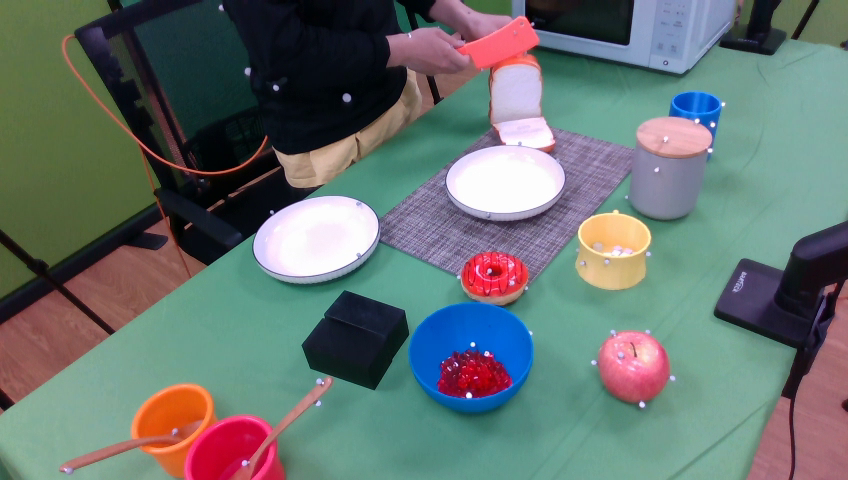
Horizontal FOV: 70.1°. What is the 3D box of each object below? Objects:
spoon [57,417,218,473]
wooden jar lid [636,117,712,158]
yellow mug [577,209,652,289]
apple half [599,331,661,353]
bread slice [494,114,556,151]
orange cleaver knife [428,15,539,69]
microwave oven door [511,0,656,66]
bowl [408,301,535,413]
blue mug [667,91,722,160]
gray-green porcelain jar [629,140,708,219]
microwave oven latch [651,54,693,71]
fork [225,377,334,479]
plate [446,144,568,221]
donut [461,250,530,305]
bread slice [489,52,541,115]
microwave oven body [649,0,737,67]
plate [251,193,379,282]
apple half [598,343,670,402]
[{"bbox_3d":[-0.304,0.221,0.661,0.041,0.195,0.021,19,92,27],"label":"spoon"},{"bbox_3d":[0.377,-0.151,0.917,0.108,0.021,0.108,-2,41,3],"label":"wooden jar lid"},{"bbox_3d":[0.279,0.004,0.893,0.099,0.064,0.130,5,41,15],"label":"yellow mug"},{"bbox_3d":[0.249,0.134,0.738,0.081,0.081,0.032,-2,46,7],"label":"apple half"},{"bbox_3d":[0.196,-0.205,1.169,0.105,0.019,0.131,-7,37,0],"label":"bread slice"},{"bbox_3d":[0.114,-0.367,1.163,0.211,0.078,0.012,-17,44,11],"label":"orange cleaver knife"},{"bbox_3d":[0.351,-0.540,1.349,0.353,0.245,0.039,24,50,31],"label":"microwave oven door"},{"bbox_3d":[0.060,0.156,0.739,0.151,0.077,0.150,-4,40,4],"label":"bowl"},{"bbox_3d":[0.474,-0.207,1.079,0.082,0.106,0.116,4,42,13],"label":"blue mug"},{"bbox_3d":[0.383,-0.105,0.958,0.106,0.127,0.105,-4,41,4],"label":"gray-green porcelain jar"},{"bbox_3d":[0.532,-0.386,1.301,0.078,0.029,0.030,26,52,34],"label":"microwave oven latch"},{"bbox_3d":[-0.163,0.216,0.646,0.207,0.019,0.028,-49,42,16],"label":"fork"},{"bbox_3d":[0.142,-0.096,1.045,0.207,0.039,0.206,-4,40,4],"label":"plate"},{"bbox_3d":[0.103,0.053,0.872,0.099,0.048,0.098,-5,40,4],"label":"donut"},{"bbox_3d":[0.187,-0.317,1.231,0.107,0.135,0.018,-5,45,3],"label":"bread slice"},{"bbox_3d":[0.475,-0.602,1.411,0.438,0.261,0.327,23,50,32],"label":"microwave oven body"},{"bbox_3d":[-0.174,-0.001,0.984,0.209,0.038,0.208,-4,40,4],"label":"plate"},{"bbox_3d":[0.247,0.161,0.710,0.081,0.075,0.053,2,47,5],"label":"apple half"}]
